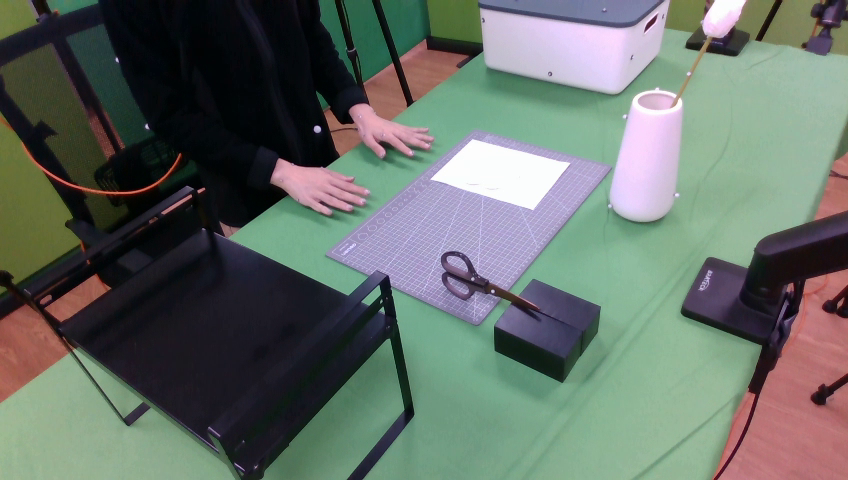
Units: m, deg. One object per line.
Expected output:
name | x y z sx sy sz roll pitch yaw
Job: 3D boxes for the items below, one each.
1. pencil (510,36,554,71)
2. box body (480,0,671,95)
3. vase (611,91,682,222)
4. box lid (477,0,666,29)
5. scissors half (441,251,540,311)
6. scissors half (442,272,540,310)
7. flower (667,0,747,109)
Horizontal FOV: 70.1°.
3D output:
pencil | 0.263 -0.453 1.469 0.012 0.012 0.194 25 52 32
box body | 0.339 -0.480 1.381 0.361 0.161 0.255 22 48 30
vase | 0.348 -0.125 0.935 0.098 0.201 0.097 -3 40 3
box lid | 0.332 -0.535 1.333 0.368 0.015 0.264 22 48 31
scissors half | 0.087 0.056 0.824 0.013 0.040 0.173 -30 44 -35
scissors half | 0.089 0.074 0.832 0.013 0.040 0.173 -24 23 -38
flower | 0.354 -0.187 0.879 0.038 0.362 0.044 30 48 14
